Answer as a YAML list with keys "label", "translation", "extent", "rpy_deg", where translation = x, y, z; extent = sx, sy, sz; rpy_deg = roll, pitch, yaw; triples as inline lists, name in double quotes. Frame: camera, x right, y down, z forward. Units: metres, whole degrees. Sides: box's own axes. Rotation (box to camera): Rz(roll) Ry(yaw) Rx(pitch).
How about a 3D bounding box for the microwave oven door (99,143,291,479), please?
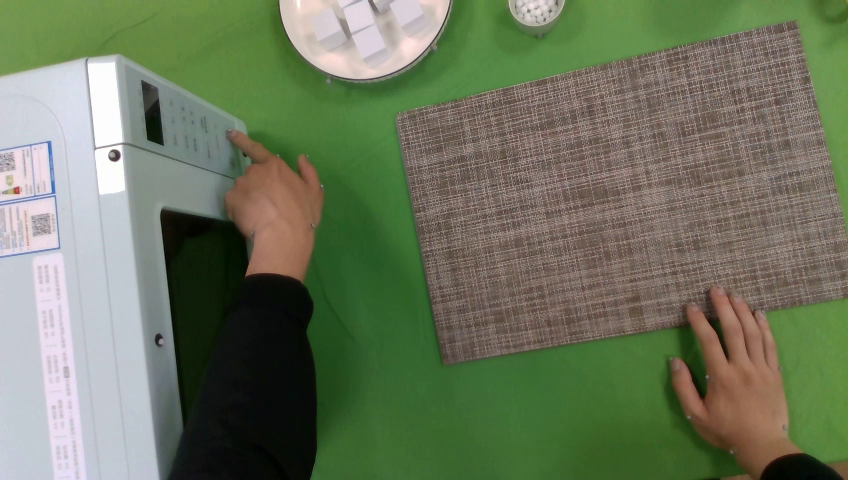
- label: "microwave oven door"
  translation: [-0.215, 0.101, 0.604]
  extent: [0.039, 0.244, 0.355]
  rpy_deg: [-9, 86, 9]

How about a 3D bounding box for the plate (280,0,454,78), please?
- label: "plate"
  translation: [-0.065, -0.290, 0.713]
  extent: [0.207, 0.039, 0.207]
  rpy_deg: [0, 88, 9]

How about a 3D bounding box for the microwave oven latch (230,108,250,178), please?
- label: "microwave oven latch"
  translation: [-0.226, -0.113, 0.715]
  extent: [0.030, 0.029, 0.079]
  rpy_deg: [-7, 88, 9]

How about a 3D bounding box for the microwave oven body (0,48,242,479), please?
- label: "microwave oven body"
  translation: [-0.363, 0.080, 0.634]
  extent: [0.326, 0.261, 0.441]
  rpy_deg: [-8, 87, 8]

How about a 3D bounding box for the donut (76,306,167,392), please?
- label: "donut"
  translation: [-0.334, 0.121, 0.671]
  extent: [0.099, 0.048, 0.099]
  rpy_deg: [1, 97, 6]

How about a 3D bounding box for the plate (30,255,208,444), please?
- label: "plate"
  translation: [-0.337, 0.120, 0.681]
  extent: [0.209, 0.038, 0.209]
  rpy_deg: [0, 88, 9]

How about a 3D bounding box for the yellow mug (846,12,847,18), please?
- label: "yellow mug"
  translation: [0.476, -0.280, 0.610]
  extent: [0.099, 0.064, 0.131]
  rpy_deg: [38, 95, 9]

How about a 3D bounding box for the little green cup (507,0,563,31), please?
- label: "little green cup"
  translation: [0.125, -0.267, 0.681]
  extent: [0.061, 0.039, 0.061]
  rpy_deg: [0, 88, 10]
